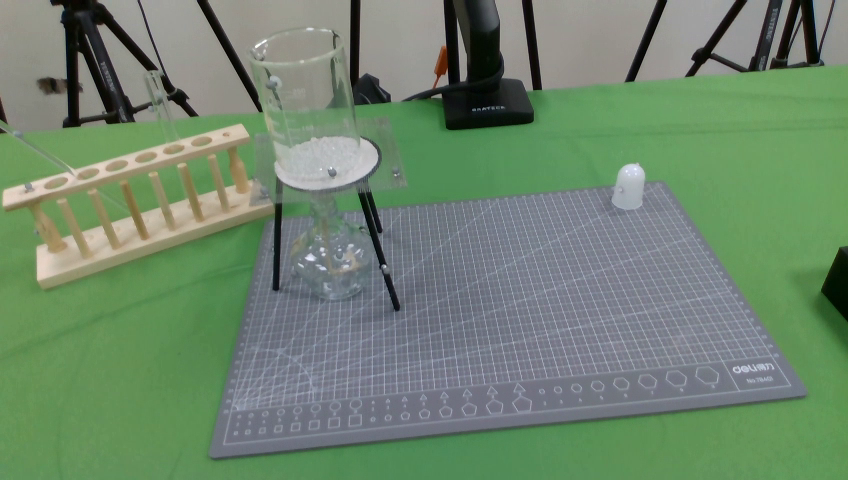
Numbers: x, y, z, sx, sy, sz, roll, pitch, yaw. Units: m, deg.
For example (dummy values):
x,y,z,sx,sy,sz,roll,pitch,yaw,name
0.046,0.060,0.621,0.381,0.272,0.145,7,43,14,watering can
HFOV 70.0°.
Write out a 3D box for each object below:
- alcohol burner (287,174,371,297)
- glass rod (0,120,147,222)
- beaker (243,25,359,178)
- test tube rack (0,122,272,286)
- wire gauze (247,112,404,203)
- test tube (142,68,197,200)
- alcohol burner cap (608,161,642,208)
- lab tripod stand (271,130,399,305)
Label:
x,y,z,sx,sy,sz,roll,pitch,yaw,name
-0.089,-0.007,0.552,0.078,0.120,0.077,-3,37,3,alcohol burner
-0.358,-0.073,0.599,0.008,0.202,0.008,-20,48,24,glass rod
-0.094,-0.107,0.477,0.083,0.101,0.073,14,42,24,beaker
-0.296,-0.043,0.645,0.243,0.086,0.066,-21,41,-19,test tube rack
-0.085,-0.070,0.509,0.125,0.011,0.120,-11,37,-3,wire gauze
-0.268,-0.107,0.643,0.017,0.151,0.017,-2,36,2,test tube
0.215,-0.062,0.646,0.034,0.048,0.033,-3,39,3,alcohol burner cap
-0.080,-0.020,0.550,0.148,0.133,0.147,-3,41,3,lab tripod stand
